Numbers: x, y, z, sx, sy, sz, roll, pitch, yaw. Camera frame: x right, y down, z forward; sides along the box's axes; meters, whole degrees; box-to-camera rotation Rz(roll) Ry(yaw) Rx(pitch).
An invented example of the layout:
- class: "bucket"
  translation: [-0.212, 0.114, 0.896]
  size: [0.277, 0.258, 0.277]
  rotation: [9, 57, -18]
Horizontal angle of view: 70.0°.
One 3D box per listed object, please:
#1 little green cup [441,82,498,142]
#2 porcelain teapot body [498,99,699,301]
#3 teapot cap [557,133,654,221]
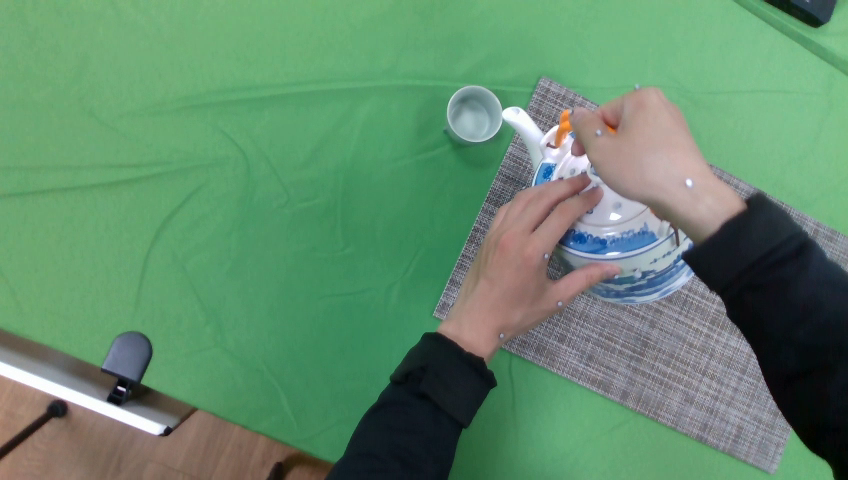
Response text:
- class: "little green cup"
  translation: [0.047, -0.137, 0.663]
  size: [0.062, 0.038, 0.061]
  rotation: [1, 86, -9]
- class: "porcelain teapot body"
  translation: [0.151, -0.056, 0.569]
  size: [0.145, 0.228, 0.203]
  rotation: [-49, 55, -1]
- class: "teapot cap"
  translation: [0.154, -0.057, 0.519]
  size: [0.085, 0.044, 0.084]
  rotation: [-12, 60, 22]
